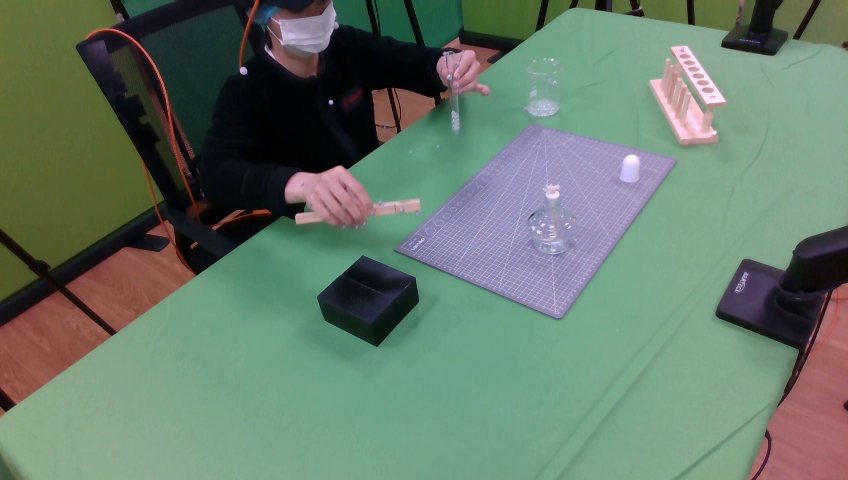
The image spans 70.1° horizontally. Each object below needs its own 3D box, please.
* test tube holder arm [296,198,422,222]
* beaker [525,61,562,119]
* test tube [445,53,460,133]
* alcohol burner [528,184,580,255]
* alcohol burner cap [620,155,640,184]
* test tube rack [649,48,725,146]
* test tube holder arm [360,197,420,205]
[{"bbox_3d":[-0.093,-0.042,0.855,0.178,0.015,0.013,-7,18,0],"label":"test tube holder arm"},{"bbox_3d":[0.248,-0.309,1.246,0.073,0.101,0.084,29,52,36],"label":"beaker"},{"bbox_3d":[0.050,-0.250,1.043,0.017,0.151,0.017,-4,42,4],"label":"test tube"},{"bbox_3d":[0.196,-0.036,0.911,0.078,0.119,0.077,-6,41,5],"label":"alcohol burner"},{"bbox_3d":[0.358,-0.124,1.047,0.034,0.048,0.033,-4,40,4],"label":"alcohol burner cap"},{"bbox_3d":[0.508,-0.285,1.186,0.067,0.085,0.241,-4,40,6],"label":"test tube rack"},{"bbox_3d":[-0.048,-0.049,0.860,0.088,0.015,0.010,-7,18,0],"label":"test tube holder arm"}]
